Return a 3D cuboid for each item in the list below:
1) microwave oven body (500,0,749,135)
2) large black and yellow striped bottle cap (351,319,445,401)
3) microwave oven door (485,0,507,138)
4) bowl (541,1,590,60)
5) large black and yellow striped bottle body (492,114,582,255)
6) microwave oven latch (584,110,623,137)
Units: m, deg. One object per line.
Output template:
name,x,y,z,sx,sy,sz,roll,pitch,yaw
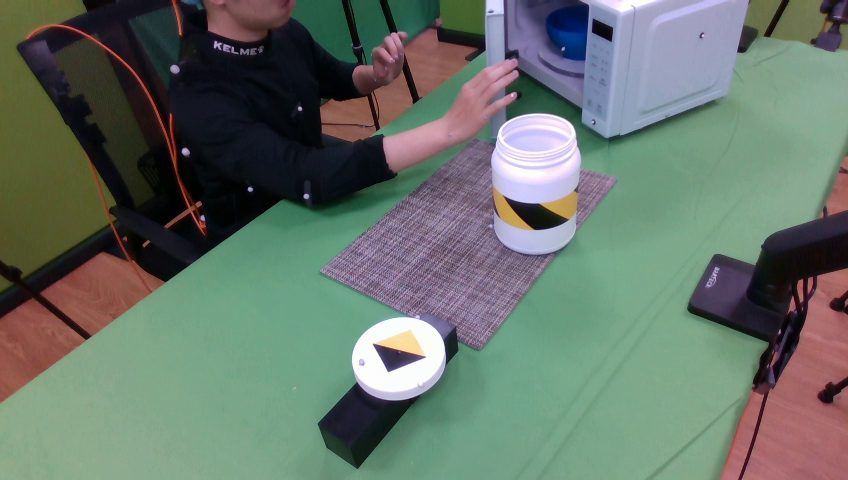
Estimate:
microwave oven body,0.382,-0.444,1.246,0.327,0.261,0.437,-22,42,-16
large black and yellow striped bottle cap,-0.031,0.143,0.734,0.115,0.019,0.114,-3,40,3
microwave oven door,0.145,-0.403,1.223,0.039,0.245,0.354,-2,41,7
bowl,0.328,-0.435,1.278,0.151,0.077,0.150,-13,39,11
large black and yellow striped bottle body,0.169,-0.083,0.912,0.131,0.185,0.130,-4,41,4
microwave oven latch,0.337,-0.222,1.142,0.030,0.029,0.078,-21,42,-14
